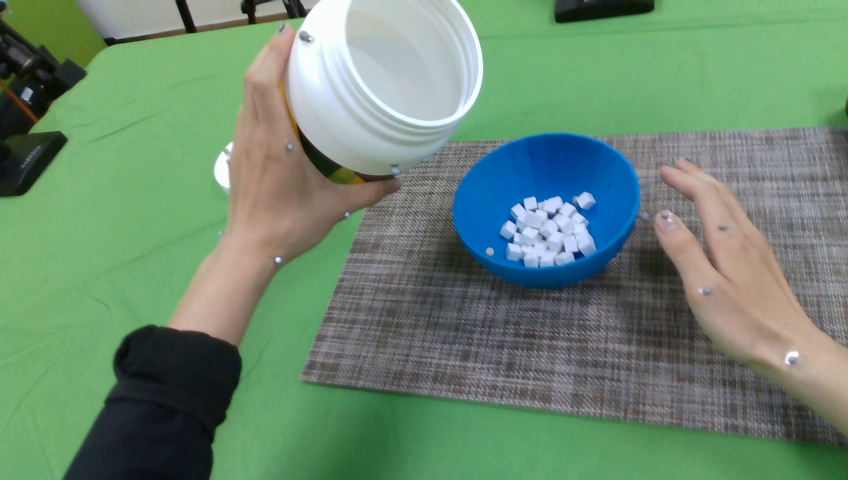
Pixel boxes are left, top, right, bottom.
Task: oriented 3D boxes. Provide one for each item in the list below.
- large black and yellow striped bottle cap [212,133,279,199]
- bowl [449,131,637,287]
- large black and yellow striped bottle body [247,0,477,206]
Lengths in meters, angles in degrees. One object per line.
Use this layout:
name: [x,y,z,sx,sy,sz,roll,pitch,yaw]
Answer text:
large black and yellow striped bottle cap: [-0.202,-0.097,0.740,0.115,0.019,0.114,-8,49,10]
bowl: [0.103,-0.013,0.517,0.151,0.077,0.150,-9,49,12]
large black and yellow striped bottle body: [-0.053,-0.109,0.471,0.130,0.131,0.183,-56,18,-27]
